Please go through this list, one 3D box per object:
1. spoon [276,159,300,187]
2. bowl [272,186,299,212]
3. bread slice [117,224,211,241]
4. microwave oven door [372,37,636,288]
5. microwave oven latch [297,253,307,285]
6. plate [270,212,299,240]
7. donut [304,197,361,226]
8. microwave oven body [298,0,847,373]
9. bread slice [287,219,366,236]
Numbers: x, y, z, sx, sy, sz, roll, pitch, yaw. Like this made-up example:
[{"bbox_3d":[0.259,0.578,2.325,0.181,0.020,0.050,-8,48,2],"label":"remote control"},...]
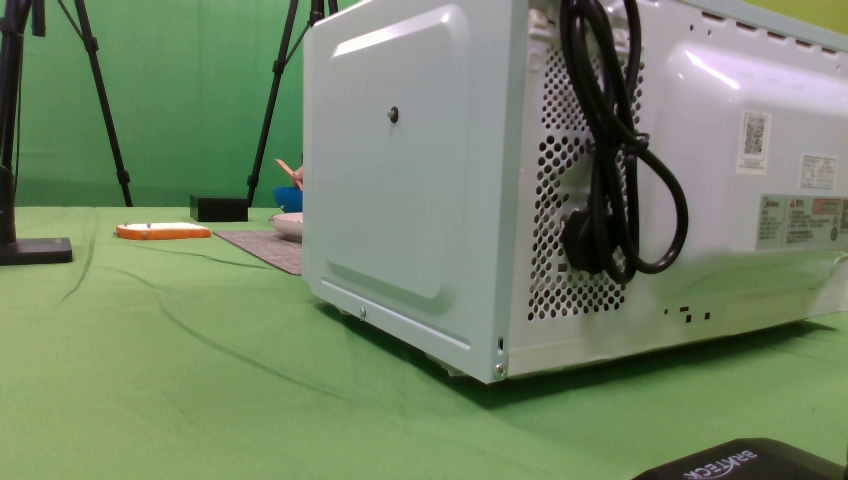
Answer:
[{"bbox_3d":[-0.282,-0.125,1.349,0.042,0.021,0.193,-12,51,-39],"label":"spoon"},{"bbox_3d":[-0.254,-0.075,1.317,0.151,0.077,0.151,2,7,0],"label":"bowl"},{"bbox_3d":[-0.443,-0.015,1.022,0.132,0.019,0.104,-4,8,-45],"label":"bread slice"},{"bbox_3d":[0.109,-0.080,0.686,0.358,0.243,0.039,-2,9,-33],"label":"microwave oven door"},{"bbox_3d":[-0.081,0.027,0.582,0.079,0.029,0.030,-1,7,-32],"label":"microwave oven latch"},{"bbox_3d":[-0.162,-0.022,1.057,0.208,0.039,0.207,2,7,0],"label":"plate"},{"bbox_3d":[-0.160,-0.050,1.055,0.099,0.048,0.099,3,8,0],"label":"donut"},{"bbox_3d":[0.151,-0.055,0.542,0.444,0.260,0.324,-2,7,-33],"label":"microwave oven body"},{"bbox_3d":[-0.170,-0.022,1.056,0.134,0.018,0.107,2,7,-6],"label":"bread slice"}]
